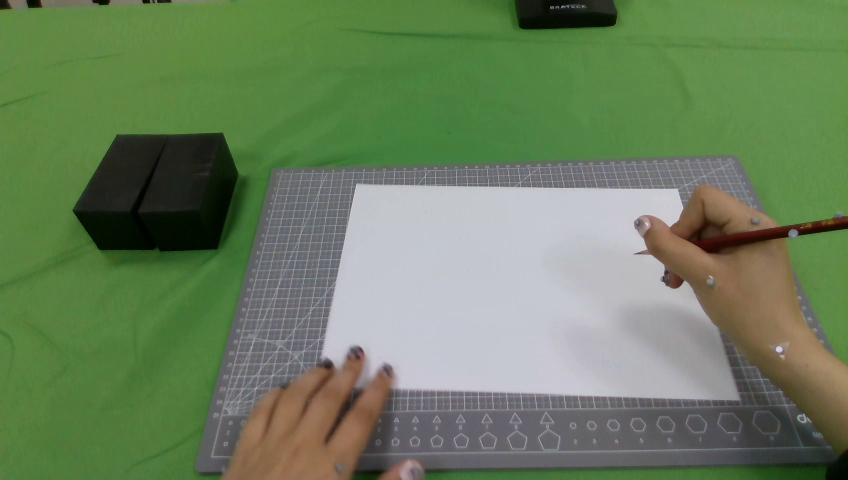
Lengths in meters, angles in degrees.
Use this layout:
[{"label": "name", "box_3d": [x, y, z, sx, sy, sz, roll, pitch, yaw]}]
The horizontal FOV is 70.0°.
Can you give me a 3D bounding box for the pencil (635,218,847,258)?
[{"label": "pencil", "box_3d": [0.210, -0.003, 0.362, 0.193, 0.012, 0.012, -14, 29, 52]}]
